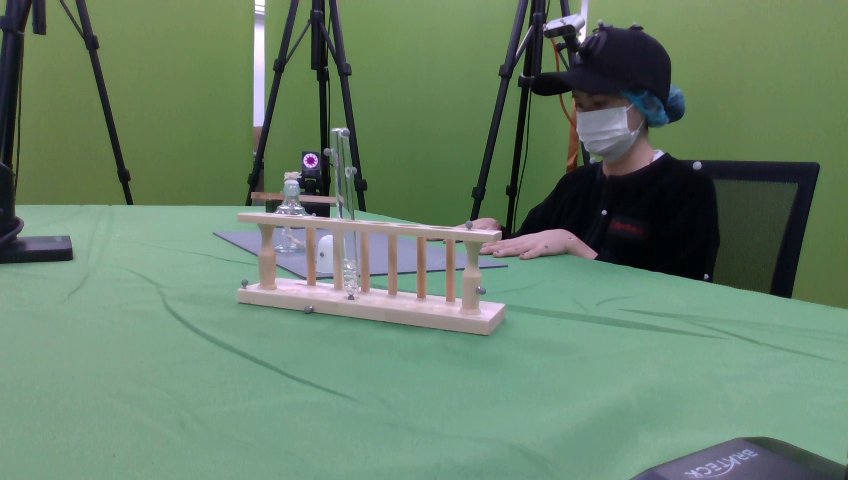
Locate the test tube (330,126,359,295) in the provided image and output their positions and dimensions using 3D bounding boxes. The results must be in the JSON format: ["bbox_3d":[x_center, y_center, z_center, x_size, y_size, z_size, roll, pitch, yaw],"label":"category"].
[{"bbox_3d":[-0.070,-0.024,0.533,0.017,0.150,0.017,-3,10,1],"label":"test tube"}]

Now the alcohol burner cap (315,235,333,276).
[{"bbox_3d":[-0.116,0.018,0.728,0.034,0.048,0.034,3,6,0],"label":"alcohol burner cap"}]

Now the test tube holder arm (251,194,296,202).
[{"bbox_3d":[-0.300,-0.084,1.207,0.088,0.015,0.010,3,5,-5],"label":"test tube holder arm"}]

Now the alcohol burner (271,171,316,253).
[{"bbox_3d":[-0.196,-0.041,0.884,0.078,0.119,0.078,3,5,0],"label":"alcohol burner"}]

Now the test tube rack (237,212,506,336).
[{"bbox_3d":[-0.049,0.024,0.552,0.242,0.085,0.067,5,8,18],"label":"test tube rack"}]

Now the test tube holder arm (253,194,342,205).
[{"bbox_3d":[-0.256,-0.082,1.217,0.179,0.015,0.013,3,5,-7],"label":"test tube holder arm"}]
